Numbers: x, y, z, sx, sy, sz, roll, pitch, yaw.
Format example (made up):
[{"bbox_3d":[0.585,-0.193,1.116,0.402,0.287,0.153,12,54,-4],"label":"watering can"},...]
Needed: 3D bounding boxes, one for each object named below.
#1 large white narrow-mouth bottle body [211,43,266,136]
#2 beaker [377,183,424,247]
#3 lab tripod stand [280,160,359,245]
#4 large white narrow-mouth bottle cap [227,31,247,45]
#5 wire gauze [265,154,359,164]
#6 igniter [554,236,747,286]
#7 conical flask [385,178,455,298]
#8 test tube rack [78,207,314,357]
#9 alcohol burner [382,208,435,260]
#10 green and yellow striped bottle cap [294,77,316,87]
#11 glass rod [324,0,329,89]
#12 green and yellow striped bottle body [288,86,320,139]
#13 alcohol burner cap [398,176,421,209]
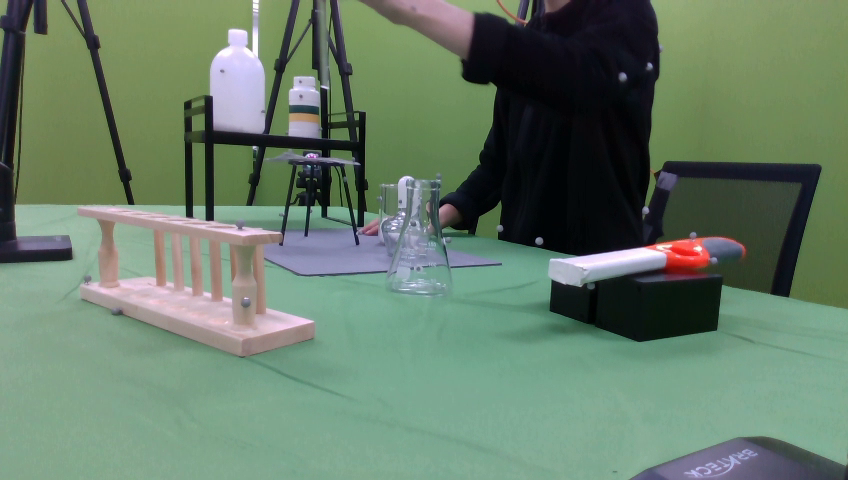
[{"bbox_3d":[-0.361,-0.302,1.176,0.102,0.194,0.102,1,7,0],"label":"large white narrow-mouth bottle body"},{"bbox_3d":[-0.037,-0.041,0.995,0.074,0.100,0.083,-5,11,-44],"label":"beaker"},{"bbox_3d":[-0.176,-0.062,0.973,0.148,0.131,0.148,1,7,0],"label":"lab tripod stand"},{"bbox_3d":[-0.361,-0.389,1.165,0.038,0.024,0.037,1,7,0],"label":"large white narrow-mouth bottle cap"},{"bbox_3d":[-0.181,-0.129,0.969,0.126,0.011,0.121,-1,7,-27],"label":"wire gauze"},{"bbox_3d":[0.221,0.017,0.558,0.278,0.025,0.057,-5,14,-39],"label":"igniter"},{"bbox_3d":[-0.002,-0.004,0.639,0.075,0.122,0.075,2,7,0],"label":"conical flask"},{"bbox_3d":[-0.196,0.023,0.499,0.241,0.085,0.067,8,8,37],"label":"test tube rack"},{"bbox_3d":[-0.023,-0.032,0.872,0.078,0.119,0.078,0,6,0],"label":"alcohol burner"},{"bbox_3d":[-0.247,-0.326,1.251,0.045,0.020,0.045,0,10,0],"label":"green and yellow striped bottle cap"},{"bbox_3d":[-0.123,-0.292,0.763,0.008,0.199,0.008,1,7,0],"label":"glass rod"},{"bbox_3d":[-0.249,-0.272,1.259,0.063,0.119,0.063,2,8,0],"label":"green and yellow striped bottle body"},{"bbox_3d":[-0.023,-0.068,0.866,0.034,0.048,0.034,-5,8,1],"label":"alcohol burner cap"}]
